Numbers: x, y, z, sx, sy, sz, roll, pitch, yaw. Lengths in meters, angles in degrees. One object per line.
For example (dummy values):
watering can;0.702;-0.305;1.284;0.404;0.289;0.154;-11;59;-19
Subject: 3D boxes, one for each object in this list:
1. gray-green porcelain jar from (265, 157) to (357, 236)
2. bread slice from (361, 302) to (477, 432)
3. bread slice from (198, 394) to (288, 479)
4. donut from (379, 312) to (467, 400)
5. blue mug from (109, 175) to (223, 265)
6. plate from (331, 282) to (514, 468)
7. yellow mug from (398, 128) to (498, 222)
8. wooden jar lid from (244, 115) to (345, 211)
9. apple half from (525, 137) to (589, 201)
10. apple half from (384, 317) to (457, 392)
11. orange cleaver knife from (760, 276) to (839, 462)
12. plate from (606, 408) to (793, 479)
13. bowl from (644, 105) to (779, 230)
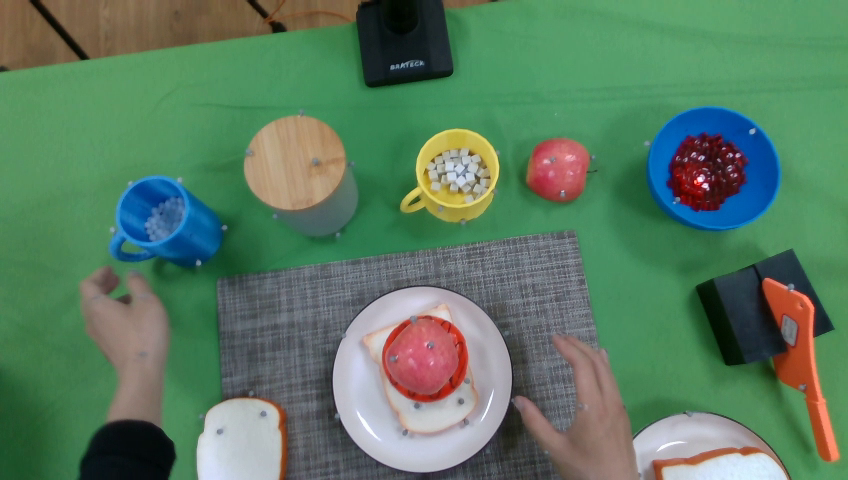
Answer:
gray-green porcelain jar;-0.136;-0.066;0.715;0.106;0.127;0.105;0;76;1
bread slice;0.002;0.151;0.703;0.107;0.018;0.133;-25;77;-3
bread slice;-0.210;0.244;0.695;0.105;0.019;0.131;0;78;0
donut;0.000;0.129;0.677;0.099;0.048;0.098;0;76;1
blue mug;-0.311;-0.012;0.716;0.116;0.106;0.082;-33;77;-6
plate;-0.002;0.153;0.701;0.207;0.039;0.206;0;77;2
yellow mug;0.025;-0.071;0.743;0.131;0.064;0.099;-31;77;-5
wooden jar lid;-0.138;-0.081;0.654;0.108;0.021;0.108;0;75;2
apple half;0.166;-0.094;0.752;0.074;0.053;0.080;14;78;7
apple half;-0.003;0.123;0.643;0.081;0.033;0.081;-1;80;7
orange cleaver knife;0.417;0.142;0.675;0.012;0.077;0.212;-18;98;-10
plate;0.300;0.291;0.665;0.209;0.038;0.208;0;77;2
bowl;0.332;-0.077;0.731;0.151;0.077;0.150;0;77;2
